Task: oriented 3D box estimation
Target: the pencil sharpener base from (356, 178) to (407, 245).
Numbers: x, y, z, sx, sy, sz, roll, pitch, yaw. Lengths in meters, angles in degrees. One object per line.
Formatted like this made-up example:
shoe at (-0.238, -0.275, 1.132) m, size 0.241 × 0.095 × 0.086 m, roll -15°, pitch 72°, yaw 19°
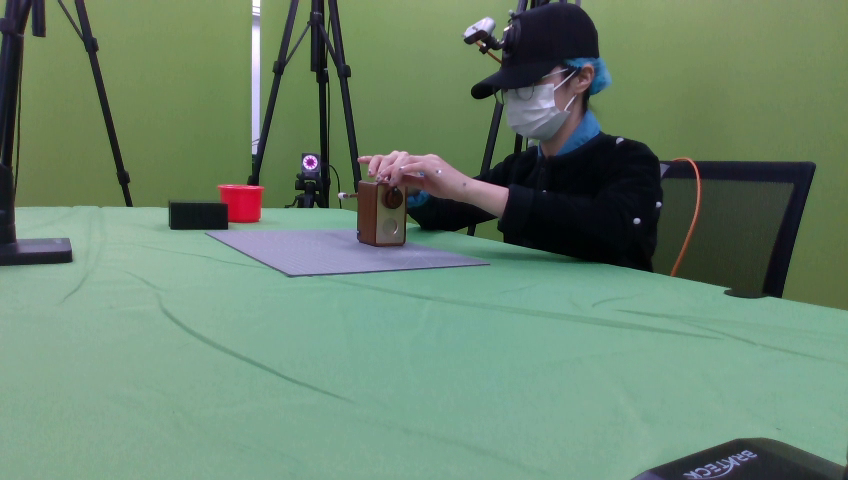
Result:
pencil sharpener base at (-0.072, -0.049, 1.018) m, size 0.062 × 0.107 × 0.076 m, roll -2°, pitch 9°, yaw -32°

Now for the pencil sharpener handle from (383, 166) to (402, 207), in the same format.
pencil sharpener handle at (-0.047, -0.084, 0.967) m, size 0.036 × 0.068 × 0.030 m, roll -21°, pitch 18°, yaw -28°

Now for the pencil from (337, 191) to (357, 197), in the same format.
pencil at (-0.120, -0.084, 1.099) m, size 0.012 × 0.012 × 0.193 m, roll -2°, pitch 4°, yaw -29°
